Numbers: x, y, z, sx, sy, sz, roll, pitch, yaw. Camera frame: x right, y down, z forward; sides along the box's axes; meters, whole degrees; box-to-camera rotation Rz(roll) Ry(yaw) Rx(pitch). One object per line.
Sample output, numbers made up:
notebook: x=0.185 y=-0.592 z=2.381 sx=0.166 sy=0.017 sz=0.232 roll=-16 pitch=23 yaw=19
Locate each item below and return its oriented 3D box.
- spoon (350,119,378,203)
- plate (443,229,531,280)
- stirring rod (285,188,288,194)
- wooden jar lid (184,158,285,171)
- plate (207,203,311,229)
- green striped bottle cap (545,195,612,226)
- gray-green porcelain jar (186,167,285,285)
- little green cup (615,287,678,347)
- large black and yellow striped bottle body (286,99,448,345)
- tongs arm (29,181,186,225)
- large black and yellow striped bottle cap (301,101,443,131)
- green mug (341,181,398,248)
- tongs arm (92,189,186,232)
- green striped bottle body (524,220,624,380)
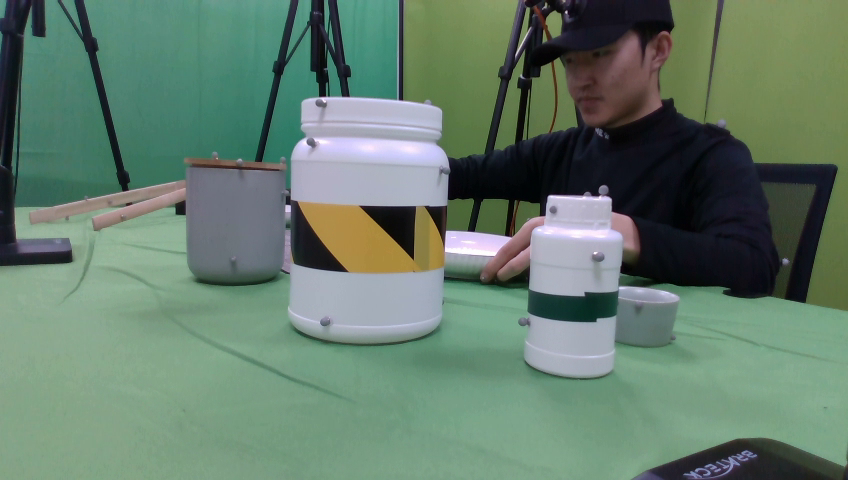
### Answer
spoon: x=-0.104 y=-0.136 z=1.021 sx=0.021 sy=0.193 sz=0.042 roll=-34 pitch=-39 yaw=32
plate: x=0.056 y=0.019 z=0.815 sx=0.209 sy=0.038 sz=0.209 roll=3 pitch=9 yaw=0
stirring rod: x=-0.353 y=-0.122 z=1.519 sx=0.006 sy=0.014 sz=0.176 roll=1 pitch=7 yaw=1
wooden jar lid: x=-0.210 y=-0.078 z=0.674 sx=0.108 sy=0.020 sz=0.108 roll=5 pitch=6 yaw=0
plate: x=-0.342 y=-0.050 z=1.259 sx=0.208 sy=0.039 sz=0.207 roll=3 pitch=7 yaw=0
green striped bottle cap: x=0.106 y=-0.020 z=0.414 sx=0.044 sy=0.020 sz=0.044 roll=2 pitch=4 yaw=0
gray-green porcelain jar: x=-0.212 y=-0.017 z=0.682 sx=0.106 sy=0.126 sz=0.106 roll=2 pitch=7 yaw=0
little green cup: x=0.180 y=0.064 z=0.506 sx=0.061 sy=0.038 sz=0.061 roll=1 pitch=8 yaw=0
large black and yellow striped bottle body: x=-0.047 y=-0.018 z=0.501 sx=0.131 sy=0.184 sz=0.130 roll=2 pitch=7 yaw=0
tongs arm: x=-0.609 y=-0.083 z=1.245 sx=0.050 sy=0.026 sz=0.386 roll=5 pitch=16 yaw=23
large black and yellow striped bottle cap: x=-0.042 y=-0.100 z=0.491 sx=0.115 sy=0.019 sz=0.115 roll=1 pitch=8 yaw=0
green mug: x=-0.090 y=-0.043 z=0.997 sx=0.093 sy=0.105 sz=0.125 roll=1 pitch=6 yaw=-8
tongs arm: x=-0.534 y=-0.076 z=1.222 sx=0.028 sy=0.028 sz=0.388 roll=-2 pitch=15 yaw=12
green striped bottle body: x=0.104 y=0.031 z=0.422 sx=0.063 sy=0.119 sz=0.063 roll=2 pitch=8 yaw=0
